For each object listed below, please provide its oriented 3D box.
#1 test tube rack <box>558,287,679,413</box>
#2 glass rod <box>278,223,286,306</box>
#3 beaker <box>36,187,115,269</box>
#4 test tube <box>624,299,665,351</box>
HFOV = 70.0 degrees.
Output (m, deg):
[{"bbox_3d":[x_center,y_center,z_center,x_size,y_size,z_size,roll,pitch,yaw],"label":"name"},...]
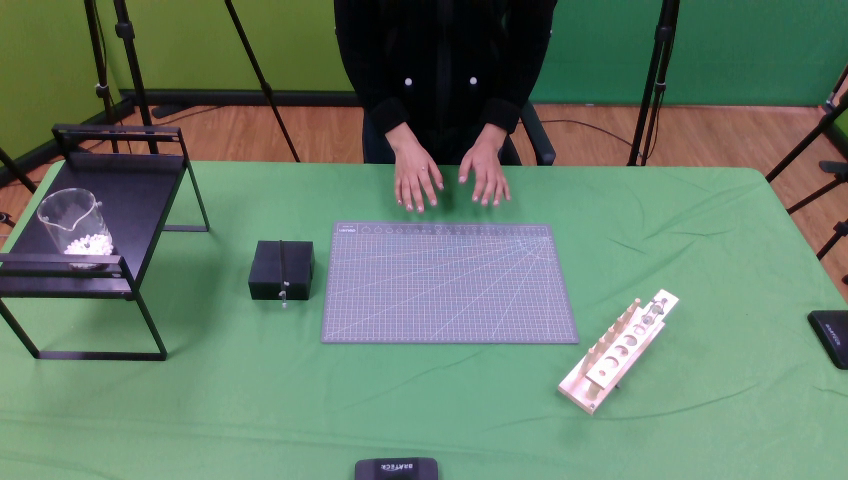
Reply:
[{"bbox_3d":[0.326,0.170,1.009,0.066,0.085,0.242,36,54,26],"label":"test tube rack"},{"bbox_3d":[-0.255,0.039,1.081,0.008,0.008,0.198,-6,47,-10],"label":"glass rod"},{"bbox_3d":[-0.493,-0.012,0.867,0.074,0.101,0.083,-18,51,-18],"label":"beaker"},{"bbox_3d":[0.350,0.140,0.970,0.017,0.151,0.017,2,52,-3],"label":"test tube"}]
